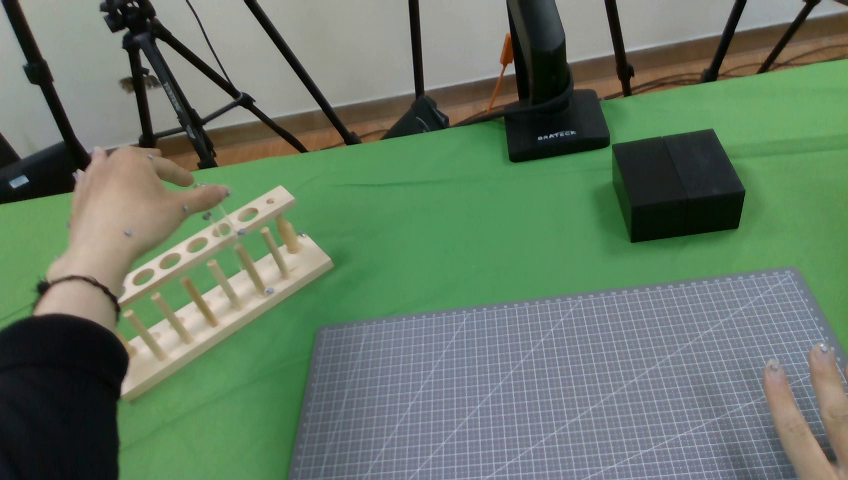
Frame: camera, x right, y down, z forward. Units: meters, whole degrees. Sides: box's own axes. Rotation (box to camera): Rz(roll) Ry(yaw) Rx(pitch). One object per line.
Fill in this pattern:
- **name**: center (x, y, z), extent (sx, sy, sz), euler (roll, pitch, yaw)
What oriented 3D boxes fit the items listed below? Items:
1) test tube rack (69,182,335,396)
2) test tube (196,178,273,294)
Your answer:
- **test tube rack**: center (-0.221, 0.046, 0.628), extent (0.242, 0.086, 0.066), euler (-34, 46, -18)
- **test tube**: center (-0.185, 0.000, 0.599), extent (0.017, 0.152, 0.017), euler (-9, 42, 9)
